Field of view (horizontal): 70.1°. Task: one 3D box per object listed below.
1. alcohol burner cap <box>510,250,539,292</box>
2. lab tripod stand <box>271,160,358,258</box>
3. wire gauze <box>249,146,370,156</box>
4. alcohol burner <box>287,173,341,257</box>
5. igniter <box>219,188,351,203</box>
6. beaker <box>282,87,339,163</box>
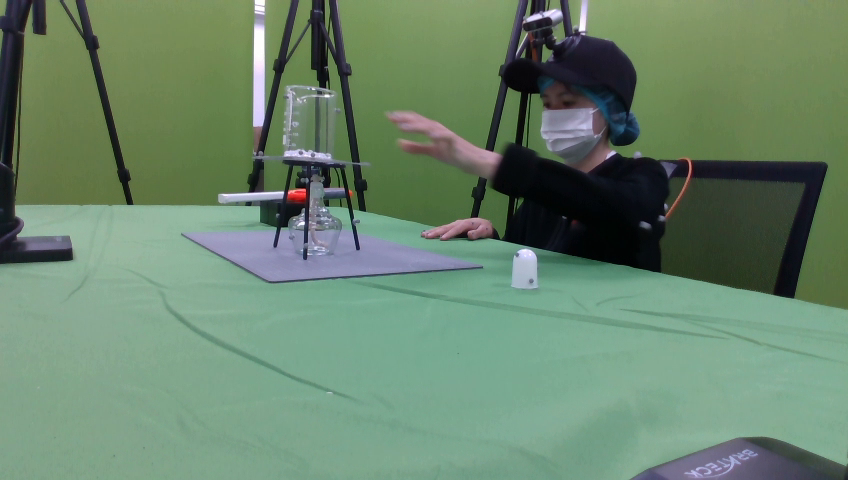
[{"bbox_3d":[0.118,0.036,0.704,0.034,0.048,0.034,1,6,0],"label":"alcohol burner cap"},{"bbox_3d":[-0.159,-0.048,0.876,0.148,0.131,0.148,3,5,0],"label":"lab tripod stand"},{"bbox_3d":[-0.162,-0.128,0.868,0.124,0.011,0.122,2,7,32],"label":"wire gauze"},{"bbox_3d":[-0.158,-0.037,0.868,0.078,0.119,0.078,1,6,0],"label":"alcohol burner"},{"bbox_3d":[-0.280,-0.092,1.254,0.278,0.025,0.057,-6,10,-34],"label":"igniter"},{"bbox_3d":[-0.164,-0.160,0.856,0.074,0.100,0.083,1,6,-37],"label":"beaker"}]
